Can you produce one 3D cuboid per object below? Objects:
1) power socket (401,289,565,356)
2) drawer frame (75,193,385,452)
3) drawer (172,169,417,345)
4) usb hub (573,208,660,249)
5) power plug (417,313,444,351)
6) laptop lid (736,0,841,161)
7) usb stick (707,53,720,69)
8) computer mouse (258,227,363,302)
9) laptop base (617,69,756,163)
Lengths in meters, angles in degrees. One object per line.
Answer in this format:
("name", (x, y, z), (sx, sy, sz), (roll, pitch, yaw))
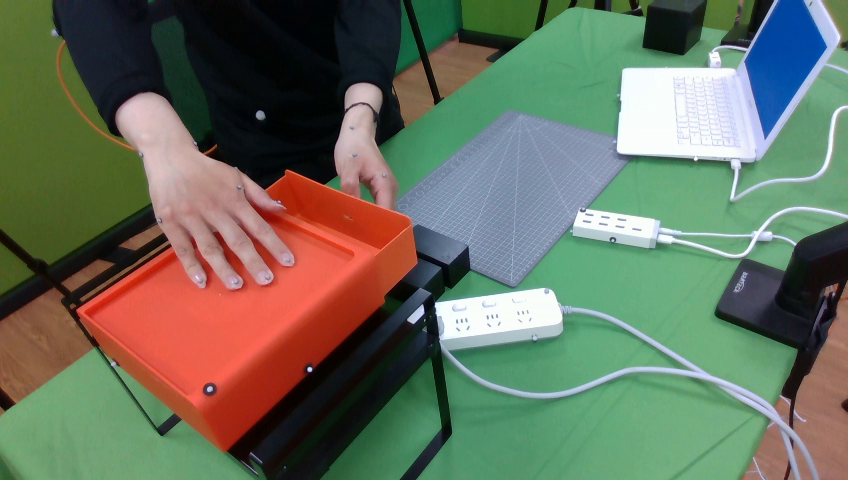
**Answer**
("power socket", (0.081, 0.112, 0.822), (0.227, 0.033, 0.072), (-7, 41, -1))
("drawer frame", (-0.183, 0.065, 0.599), (0.200, 0.083, 0.214), (23, 50, 30))
("drawer", (-0.146, 0.028, 0.637), (0.193, 0.073, 0.212), (23, 49, 30))
("usb hub", (0.302, -0.019, 0.950), (0.124, 0.025, 0.049), (11, 43, 20))
("power plug", (0.007, 0.127, 0.786), (0.035, 0.053, 0.072), (1, 43, 9))
("laptop lid", (0.641, -0.327, 1.090), (0.013, 0.242, 0.356), (17, 43, 5))
("usb stick", (0.629, -0.382, 1.313), (0.021, 0.027, 0.059), (2, 45, 17))
("computer mouse", (-0.126, 0.023, 0.662), (0.116, 0.041, 0.063), (24, 48, 27))
("laptop base", (0.509, -0.255, 1.201), (0.234, 0.023, 0.353), (4, 41, 16))
